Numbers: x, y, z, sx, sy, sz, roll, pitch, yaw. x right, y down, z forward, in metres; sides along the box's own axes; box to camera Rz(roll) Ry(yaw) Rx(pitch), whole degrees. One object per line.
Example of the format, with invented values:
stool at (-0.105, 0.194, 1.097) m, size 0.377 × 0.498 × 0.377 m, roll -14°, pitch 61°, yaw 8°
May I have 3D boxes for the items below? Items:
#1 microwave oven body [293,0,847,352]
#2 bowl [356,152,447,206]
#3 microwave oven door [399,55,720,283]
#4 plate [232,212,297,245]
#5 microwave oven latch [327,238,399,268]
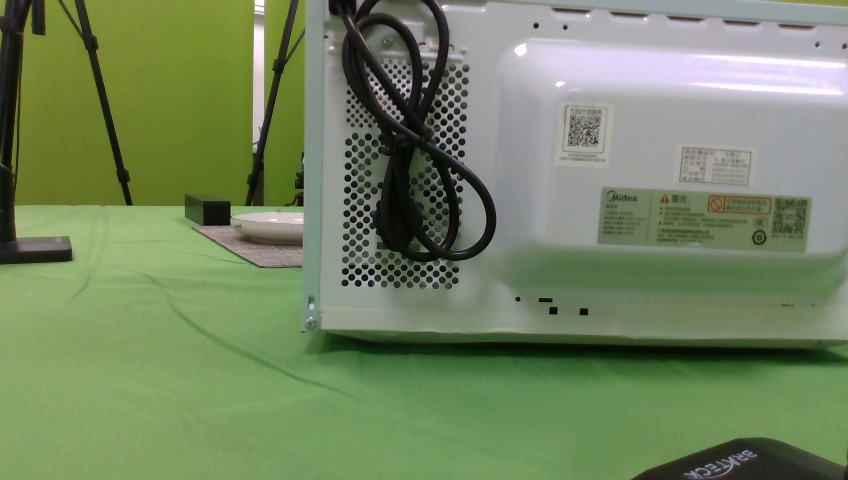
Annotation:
microwave oven body at (0.122, -0.055, 0.550) m, size 0.442 × 0.260 × 0.325 m, roll 3°, pitch 7°, yaw -5°
bowl at (-0.034, -0.096, 0.999) m, size 0.151 × 0.076 × 0.151 m, roll -3°, pitch 0°, yaw 0°
microwave oven door at (0.155, -0.078, 0.697) m, size 0.356 × 0.243 × 0.039 m, roll 2°, pitch 8°, yaw -5°
plate at (-0.214, -0.019, 1.018) m, size 0.208 × 0.039 × 0.207 m, roll 2°, pitch 7°, yaw 0°
microwave oven latch at (-0.069, 0.015, 0.694) m, size 0.079 × 0.029 × 0.030 m, roll 3°, pitch 7°, yaw -3°
